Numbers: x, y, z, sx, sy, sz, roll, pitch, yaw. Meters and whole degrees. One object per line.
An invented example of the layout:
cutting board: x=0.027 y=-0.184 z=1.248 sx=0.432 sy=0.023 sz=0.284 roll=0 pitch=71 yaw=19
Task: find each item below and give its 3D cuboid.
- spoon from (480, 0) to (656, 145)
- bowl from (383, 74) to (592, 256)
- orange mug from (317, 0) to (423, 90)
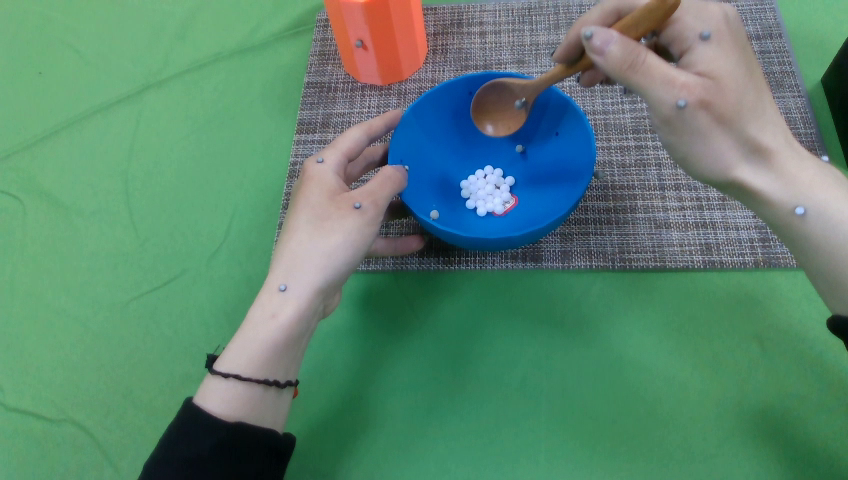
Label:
spoon: x=0.077 y=-0.097 z=0.371 sx=0.021 sy=0.194 sz=0.041 roll=44 pitch=73 yaw=-2
bowl: x=0.048 y=-0.045 z=0.467 sx=0.151 sy=0.077 sz=0.150 roll=-3 pitch=61 yaw=5
orange mug: x=-0.045 y=-0.220 z=0.564 sx=0.083 sy=0.101 sz=0.125 roll=10 pitch=67 yaw=12
